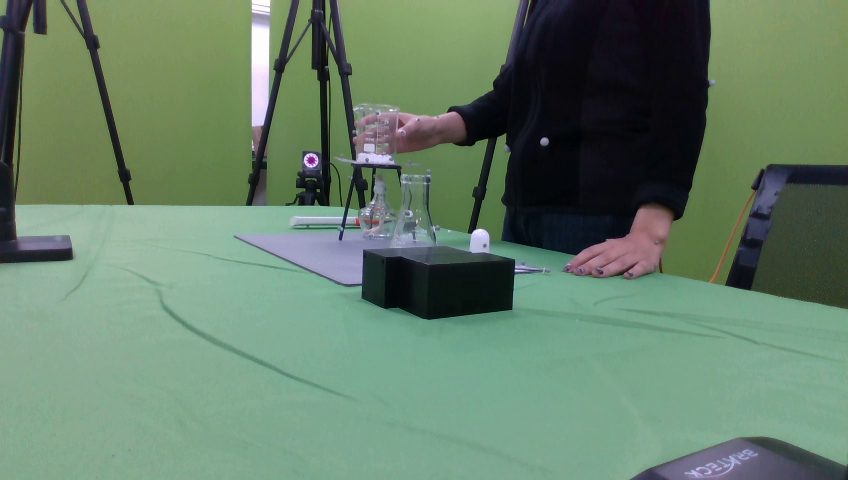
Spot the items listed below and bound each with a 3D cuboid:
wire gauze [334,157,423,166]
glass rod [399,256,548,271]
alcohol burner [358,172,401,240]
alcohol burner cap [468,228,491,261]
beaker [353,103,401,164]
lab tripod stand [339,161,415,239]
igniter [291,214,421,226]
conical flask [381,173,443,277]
[{"bbox_3d":[-0.081,-0.135,1.051,0.122,0.011,0.124,1,6,-30],"label":"wire gauze"},{"bbox_3d":[0.064,0.030,0.806,0.199,0.008,0.008,4,7,10],"label":"glass rod"},{"bbox_3d":[-0.078,-0.061,1.065,0.078,0.119,0.078,4,9,0],"label":"alcohol burner"},{"bbox_3d":[0.082,0.006,0.878,0.034,0.048,0.034,3,6,0],"label":"alcohol burner cap"},{"bbox_3d":[-0.083,-0.183,1.046,0.084,0.100,0.074,4,6,3],"label":"beaker"},{"bbox_3d":[-0.082,-0.070,1.059,0.148,0.131,0.148,4,6,0],"label":"lab tripod stand"},{"bbox_3d":[-0.135,-0.041,1.250,0.278,0.025,0.057,-1,-3,-28],"label":"igniter"},{"bbox_3d":[-0.012,-0.020,0.732,0.075,0.122,0.075,2,7,0],"label":"conical flask"}]
